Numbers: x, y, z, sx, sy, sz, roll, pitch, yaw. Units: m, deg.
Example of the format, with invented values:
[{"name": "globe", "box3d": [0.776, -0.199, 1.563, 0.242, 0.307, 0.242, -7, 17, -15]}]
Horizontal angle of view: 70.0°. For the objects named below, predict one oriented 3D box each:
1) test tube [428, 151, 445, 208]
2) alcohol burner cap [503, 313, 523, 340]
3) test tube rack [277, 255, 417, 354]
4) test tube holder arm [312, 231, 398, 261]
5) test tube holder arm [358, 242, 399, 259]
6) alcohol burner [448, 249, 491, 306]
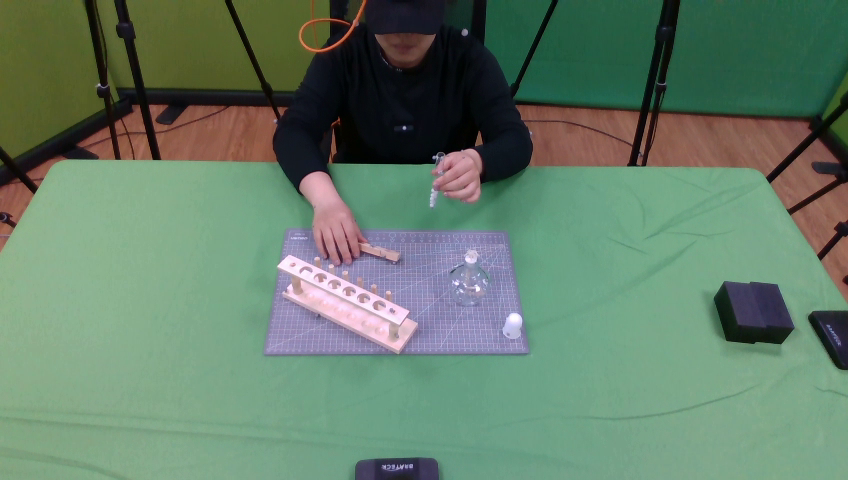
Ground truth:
[{"name": "test tube", "box3d": [0.022, -0.106, 1.106, 0.017, 0.151, 0.017, 3, 56, -5]}, {"name": "alcohol burner cap", "box3d": [0.156, 0.147, 1.051, 0.034, 0.048, 0.033, 1, 45, -1]}, {"name": "test tube rack", "box3d": [-0.131, 0.099, 1.045, 0.241, 0.085, 0.066, 23, 49, 17]}, {"name": "test tube holder arm", "box3d": [-0.134, 0.011, 1.175, 0.178, 0.015, 0.013, 15, 13, 11]}, {"name": "test tube holder arm", "box3d": [-0.090, 0.022, 1.172, 0.087, 0.015, 0.010, 15, 13, 11]}, {"name": "alcohol burner", "box3d": [0.081, 0.062, 1.078, 0.078, 0.120, 0.077, 1, 45, -1]}]
